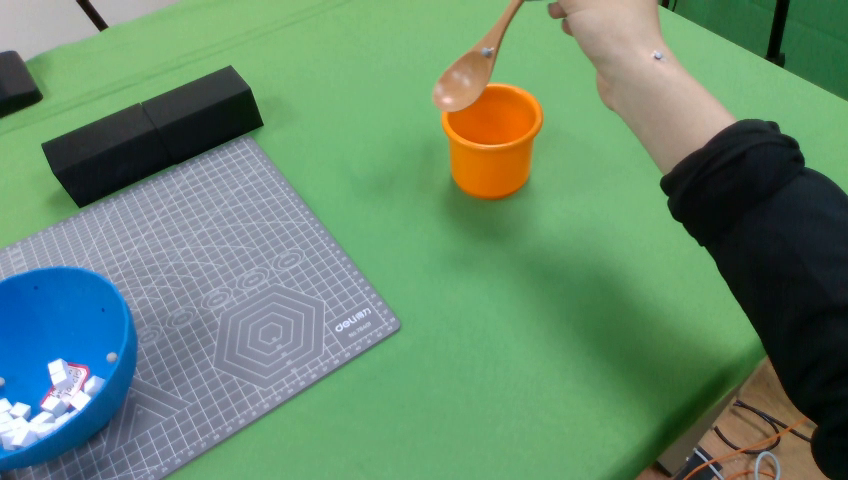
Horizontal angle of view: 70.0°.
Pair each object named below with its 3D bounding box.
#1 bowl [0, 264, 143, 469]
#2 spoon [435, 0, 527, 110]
[{"bbox_3d":[-0.269,0.100,0.439,0.151,0.077,0.150,-2,52,3],"label":"bowl"},{"bbox_3d":[0.074,-0.178,0.456,0.022,0.194,0.041,2,42,-54],"label":"spoon"}]
